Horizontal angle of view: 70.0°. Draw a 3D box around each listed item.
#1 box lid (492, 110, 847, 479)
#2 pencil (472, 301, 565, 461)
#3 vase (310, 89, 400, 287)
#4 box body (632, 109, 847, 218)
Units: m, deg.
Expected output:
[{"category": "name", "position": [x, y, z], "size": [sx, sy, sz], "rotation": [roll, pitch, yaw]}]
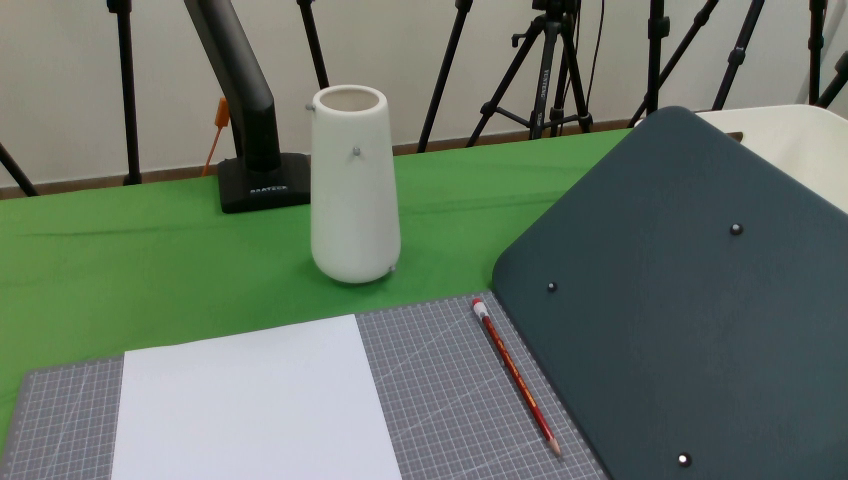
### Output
[{"category": "box lid", "position": [0.215, 0.056, 0.506], "size": [0.015, 0.263, 0.367], "rotation": [34, 17, -37]}, {"category": "pencil", "position": [0.083, 0.121, 0.557], "size": [0.012, 0.012, 0.192], "rotation": [-9, 39, -16]}, {"category": "vase", "position": [-0.073, -0.049, 0.624], "size": [0.098, 0.201, 0.097], "rotation": [1, 35, 0]}, {"category": "box body", "position": [0.382, 0.025, 0.589], "size": [0.255, 0.162, 0.360], "rotation": [-8, 38, -15]}]
